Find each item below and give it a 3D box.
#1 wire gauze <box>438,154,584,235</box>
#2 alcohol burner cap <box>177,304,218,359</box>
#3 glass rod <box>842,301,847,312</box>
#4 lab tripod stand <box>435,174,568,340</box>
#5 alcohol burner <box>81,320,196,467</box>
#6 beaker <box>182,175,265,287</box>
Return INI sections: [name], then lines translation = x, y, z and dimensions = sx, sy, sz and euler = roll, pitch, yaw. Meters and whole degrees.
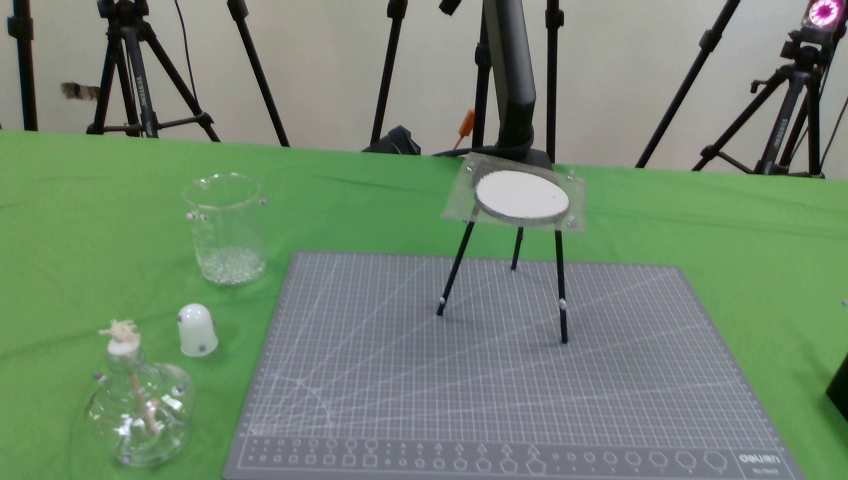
[wire gauze]
translation = 0.086, -0.042, 0.557
dimensions = 0.121, 0.011, 0.124
euler = 11, 34, 9
[alcohol burner cap]
translation = -0.207, 0.081, 0.550
dimensions = 0.034, 0.048, 0.033
euler = 3, 33, -1
[glass rod]
translation = 0.403, 0.115, 0.505
dimensions = 0.008, 0.008, 0.198
euler = 4, 34, 1
[lab tripod stand]
translation = 0.089, 0.014, 0.594
dimensions = 0.148, 0.132, 0.147
euler = 5, 33, -3
[alcohol burner]
translation = -0.211, 0.108, 0.442
dimensions = 0.078, 0.120, 0.077
euler = 1, 34, 0
[beaker]
translation = -0.207, -0.009, 0.634
dimensions = 0.083, 0.101, 0.074
euler = 29, 41, 34
